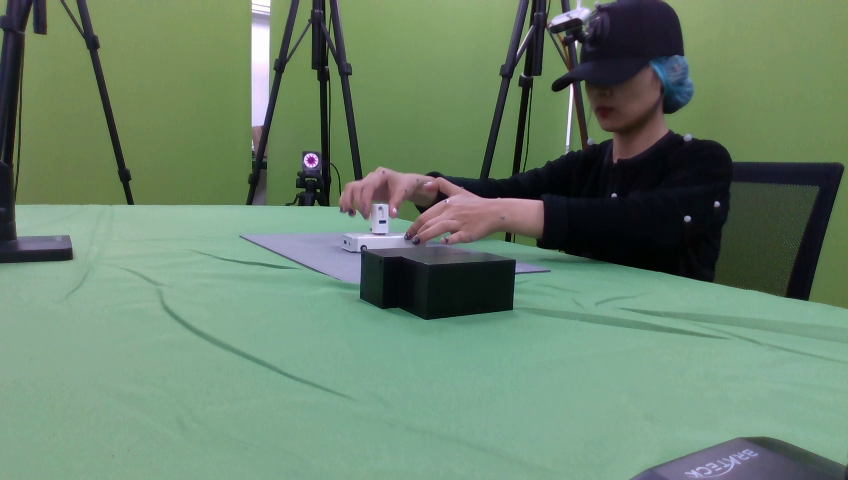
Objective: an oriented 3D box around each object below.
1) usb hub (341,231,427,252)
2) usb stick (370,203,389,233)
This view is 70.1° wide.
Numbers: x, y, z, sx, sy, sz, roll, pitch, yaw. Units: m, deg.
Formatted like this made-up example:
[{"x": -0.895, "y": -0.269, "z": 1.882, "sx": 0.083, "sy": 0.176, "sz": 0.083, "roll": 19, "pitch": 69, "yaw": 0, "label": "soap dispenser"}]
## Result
[{"x": -0.061, "y": 0.002, "z": 0.930, "sx": 0.126, "sy": 0.025, "sz": 0.049, "roll": -2, "pitch": 9, "yaw": -28, "label": "usb hub"}, {"x": -0.068, "y": -0.027, "z": 0.926, "sx": 0.021, "sy": 0.059, "sz": 0.027, "roll": -2, "pitch": 11, "yaw": -29, "label": "usb stick"}]
